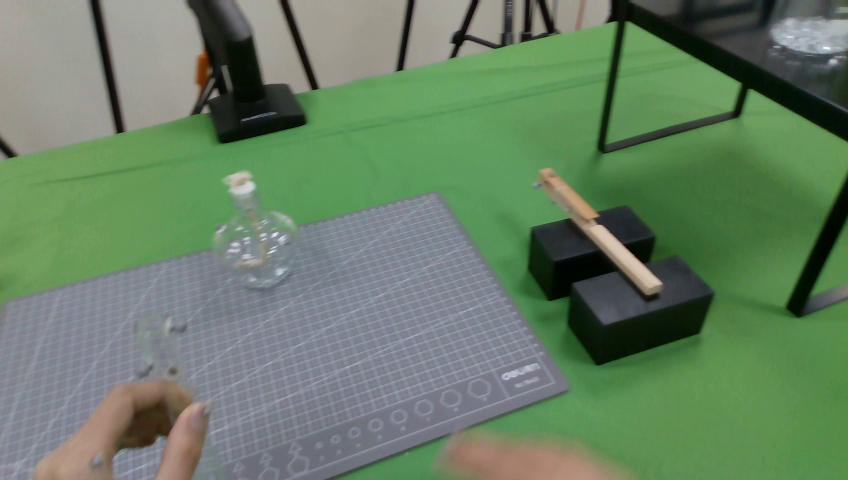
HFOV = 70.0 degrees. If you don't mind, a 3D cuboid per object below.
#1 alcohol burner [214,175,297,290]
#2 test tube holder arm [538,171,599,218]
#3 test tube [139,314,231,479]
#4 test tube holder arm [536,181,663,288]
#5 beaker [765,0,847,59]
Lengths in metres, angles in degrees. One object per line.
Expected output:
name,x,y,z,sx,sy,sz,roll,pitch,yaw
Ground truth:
alcohol burner,-0.160,-0.011,0.566,0.078,0.120,0.077,-1,40,1
test tube holder arm,0.136,-0.041,0.575,0.015,0.010,0.087,-10,38,-19
test tube,-0.123,0.101,0.326,0.017,0.151,0.017,-2,33,2
test tube holder arm,0.151,-0.012,0.544,0.015,0.013,0.176,-10,37,-19
beaker,0.329,-0.208,0.499,0.084,0.101,0.073,-10,40,-7
